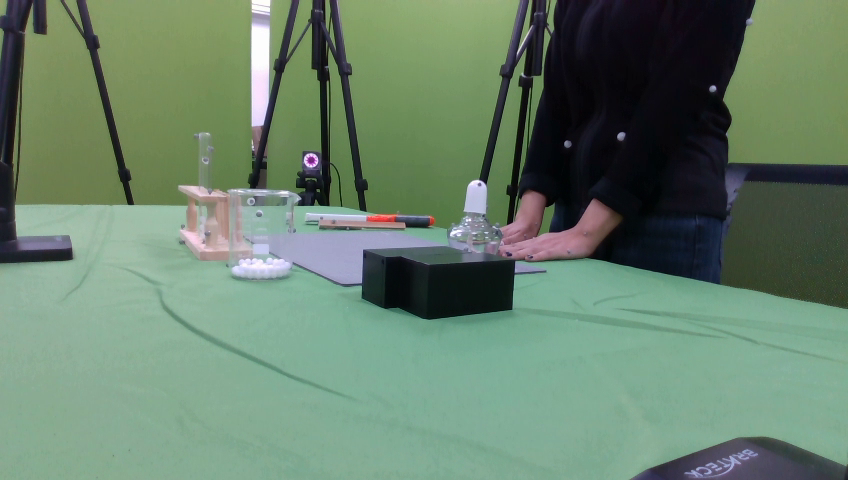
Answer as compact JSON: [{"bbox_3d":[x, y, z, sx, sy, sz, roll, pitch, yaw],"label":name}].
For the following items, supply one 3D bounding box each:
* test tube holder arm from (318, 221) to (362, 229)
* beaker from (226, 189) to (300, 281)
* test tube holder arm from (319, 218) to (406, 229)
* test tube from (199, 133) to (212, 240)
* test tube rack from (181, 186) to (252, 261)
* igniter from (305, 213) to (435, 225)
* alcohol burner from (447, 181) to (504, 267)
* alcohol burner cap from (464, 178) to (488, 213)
[{"bbox_3d":[-0.166,-0.031,1.203,0.088,0.015,0.010,0,-24,-20],"label":"test tube holder arm"},{"bbox_3d":[-0.184,-0.007,0.694,0.084,0.100,0.073,-1,8,-29],"label":"beaker"},{"bbox_3d":[-0.122,-0.032,1.214,0.179,0.015,0.013,1,-24,-21],"label":"test tube holder arm"},{"bbox_3d":[-0.306,-0.075,0.847,0.017,0.150,0.017,0,0,0],"label":"test tube"},{"bbox_3d":[-0.312,-0.031,0.893,0.067,0.085,0.241,-1,8,-27],"label":"test tube rack"},{"bbox_3d":[-0.113,-0.046,1.299,0.277,0.025,0.057,1,-3,-12],"label":"igniter"},{"bbox_3d":[0.070,-0.024,0.828,0.078,0.119,0.078,0,6,0],"label":"alcohol burner"},{"bbox_3d":[0.073,-0.060,0.824,0.034,0.048,0.034,6,4,0],"label":"alcohol burner cap"}]
